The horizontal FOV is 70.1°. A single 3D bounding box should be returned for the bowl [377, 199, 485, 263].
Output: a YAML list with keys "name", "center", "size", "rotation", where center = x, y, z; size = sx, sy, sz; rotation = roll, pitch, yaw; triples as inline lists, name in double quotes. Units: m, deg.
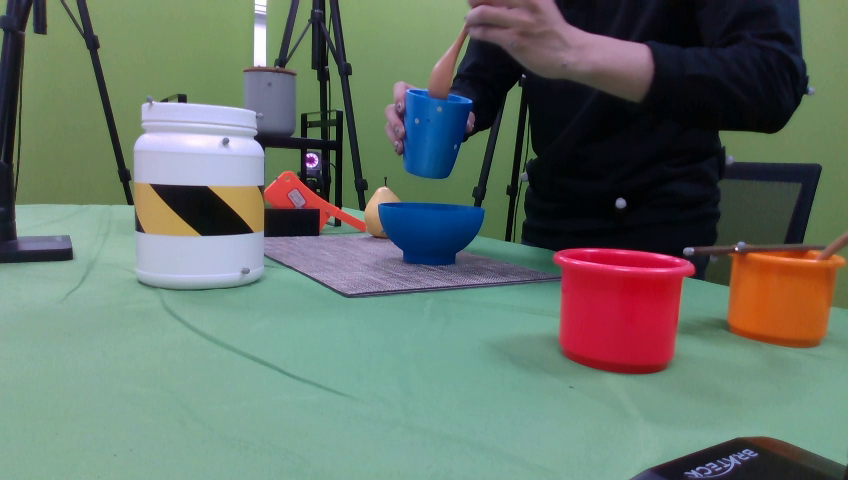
- name: "bowl"
  center: [0.008, -0.012, 0.842]
  size: [0.151, 0.077, 0.151]
  rotation: [2, 8, 0]

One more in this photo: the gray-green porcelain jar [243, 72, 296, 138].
- name: "gray-green porcelain jar"
  center: [-0.322, -0.279, 1.263]
  size: [0.106, 0.126, 0.106]
  rotation: [3, 8, 0]

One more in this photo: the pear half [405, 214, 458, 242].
- name: "pear half"
  center: [0.007, -0.019, 0.847]
  size: [0.070, 0.031, 0.088]
  rotation: [6, 13, 39]

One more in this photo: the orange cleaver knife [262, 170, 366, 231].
- name: "orange cleaver knife"
  center: [-0.201, -0.057, 1.136]
  size: [0.212, 0.077, 0.012]
  rotation: [31, -3, -31]

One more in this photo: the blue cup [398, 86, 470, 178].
- name: "blue cup"
  center: [0.006, -0.137, 0.775]
  size: [0.093, 0.100, 0.092]
  rotation: [12, 22, -5]

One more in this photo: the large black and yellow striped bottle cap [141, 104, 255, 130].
- name: "large black and yellow striped bottle cap"
  center: [-0.241, -0.131, 0.650]
  size: [0.115, 0.019, 0.115]
  rotation: [3, 8, 0]

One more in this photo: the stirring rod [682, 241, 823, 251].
- name: "stirring rod"
  center: [0.289, 0.005, 0.525]
  size: [0.177, 0.006, 0.014]
  rotation: [-1, 5, -26]

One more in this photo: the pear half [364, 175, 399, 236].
- name: "pear half"
  center: [-0.064, -0.061, 1.077]
  size: [0.055, 0.110, 0.077]
  rotation: [9, 14, 39]

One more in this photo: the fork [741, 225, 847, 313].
- name: "fork"
  center: [0.323, 0.013, 0.485]
  size: [0.028, 0.018, 0.207]
  rotation: [8, -37, -5]

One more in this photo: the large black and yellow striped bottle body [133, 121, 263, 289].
- name: "large black and yellow striped bottle body"
  center: [-0.243, -0.048, 0.659]
  size: [0.131, 0.184, 0.130]
  rotation: [2, 7, 0]

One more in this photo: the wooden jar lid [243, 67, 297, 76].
- name: "wooden jar lid"
  center: [-0.319, -0.342, 1.254]
  size: [0.108, 0.020, 0.108]
  rotation: [3, 8, 0]

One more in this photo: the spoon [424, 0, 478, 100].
- name: "spoon"
  center: [0.041, -0.249, 0.714]
  size: [0.022, 0.193, 0.041]
  rotation: [10, 22, -39]
